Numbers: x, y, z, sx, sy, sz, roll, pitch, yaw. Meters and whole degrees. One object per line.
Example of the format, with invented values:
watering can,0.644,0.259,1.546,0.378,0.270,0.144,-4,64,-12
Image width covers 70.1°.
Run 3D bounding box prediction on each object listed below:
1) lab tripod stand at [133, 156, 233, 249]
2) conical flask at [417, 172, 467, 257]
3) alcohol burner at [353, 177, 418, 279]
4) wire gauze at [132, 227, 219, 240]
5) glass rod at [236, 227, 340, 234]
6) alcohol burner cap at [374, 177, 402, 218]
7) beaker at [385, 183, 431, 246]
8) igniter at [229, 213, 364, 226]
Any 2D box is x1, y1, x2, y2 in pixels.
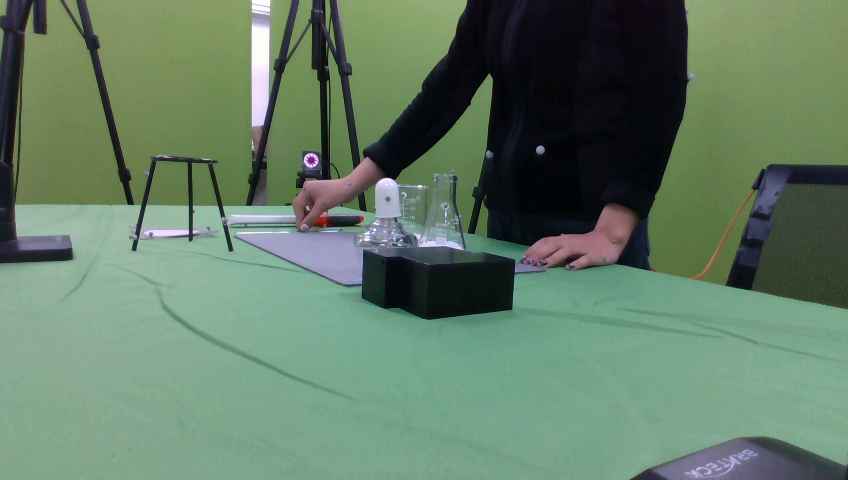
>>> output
lab tripod stand,-0.342,-0.054,0.878,0.148,0.131,0.148,4,6,0
conical flask,0.029,-0.039,0.897,0.075,0.122,0.075,3,8,0
alcohol burner,-0.044,-0.014,0.710,0.078,0.119,0.078,4,9,0
wire gauze,-0.421,-0.014,1.024,0.122,0.011,0.124,-2,7,-34
glass rod,-0.248,-0.019,1.124,0.201,0.008,0.008,-3,8,-33
alcohol burner cap,-0.044,-0.049,0.704,0.034,0.048,0.034,-6,10,1
beaker,-0.031,-0.043,1.000,0.084,0.100,0.074,4,7,15
igniter,-0.251,-0.042,1.226,0.278,0.025,0.057,-2,-3,-32
